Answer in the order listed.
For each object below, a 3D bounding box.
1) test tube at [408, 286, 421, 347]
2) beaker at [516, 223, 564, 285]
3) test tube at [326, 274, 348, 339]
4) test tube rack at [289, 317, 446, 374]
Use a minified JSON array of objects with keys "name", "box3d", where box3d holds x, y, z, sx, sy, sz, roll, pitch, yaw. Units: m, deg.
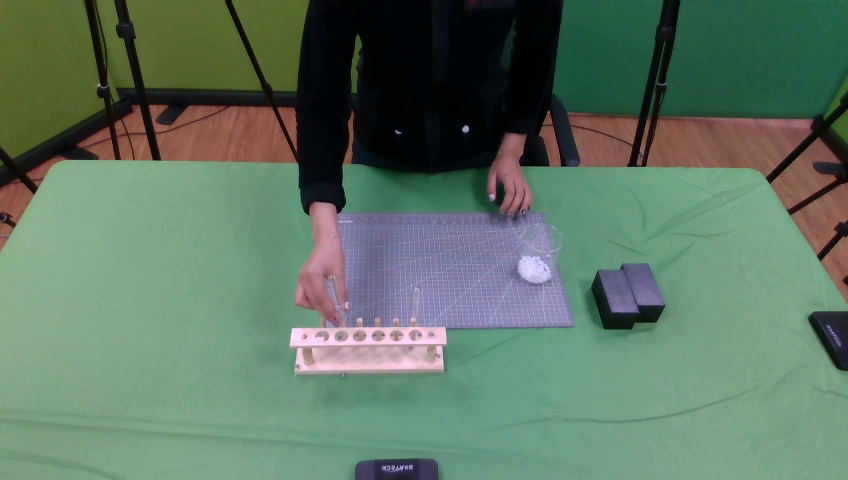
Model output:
[{"name":"test tube","box3d":[-0.016,0.124,0.973,0.017,0.151,0.017,3,46,-2]},{"name":"beaker","box3d":[0.211,0.029,1.131,0.084,0.101,0.073,-1,46,-4]},{"name":"test tube","box3d":[-0.135,0.106,0.948,0.017,0.151,0.017,-1,45,1]},{"name":"test tube rack","box3d":[-0.089,0.167,0.987,0.242,0.085,0.066,0,46,-4]}]
